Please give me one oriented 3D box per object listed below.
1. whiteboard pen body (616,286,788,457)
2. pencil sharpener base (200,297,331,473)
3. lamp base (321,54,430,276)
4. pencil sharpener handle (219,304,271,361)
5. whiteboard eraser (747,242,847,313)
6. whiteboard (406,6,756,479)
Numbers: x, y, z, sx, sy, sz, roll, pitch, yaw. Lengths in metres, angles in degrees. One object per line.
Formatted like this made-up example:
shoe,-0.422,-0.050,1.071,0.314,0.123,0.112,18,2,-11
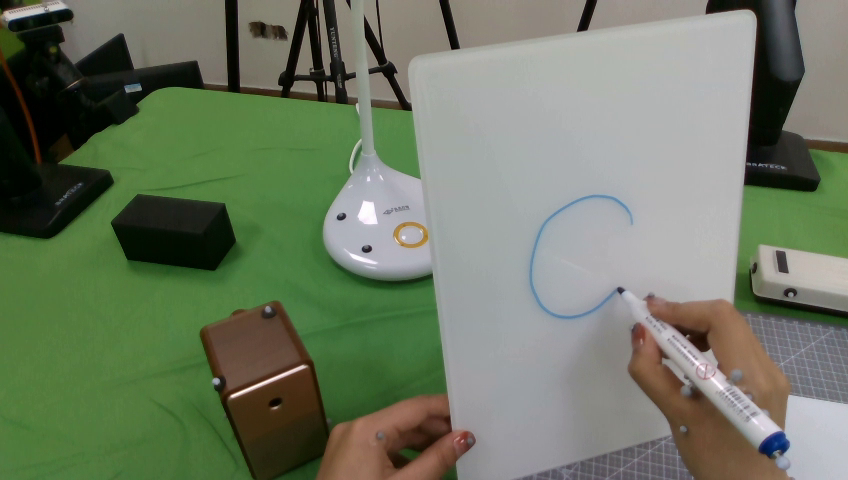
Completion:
whiteboard pen body,0.150,0.066,0.349,0.017,0.017,0.139,-13,35,-13
pencil sharpener base,-0.116,0.106,0.447,0.061,0.108,0.076,-21,44,-20
lamp base,-0.039,-0.083,0.611,0.161,0.182,0.177,-24,43,-24
pencil sharpener handle,-0.139,0.068,0.474,0.036,0.068,0.030,-27,46,-14
whiteboard eraser,0.364,0.038,0.563,0.112,0.042,0.055,9,40,14
whiteboard,0.097,0.000,0.456,0.217,0.307,0.142,-11,22,-10
